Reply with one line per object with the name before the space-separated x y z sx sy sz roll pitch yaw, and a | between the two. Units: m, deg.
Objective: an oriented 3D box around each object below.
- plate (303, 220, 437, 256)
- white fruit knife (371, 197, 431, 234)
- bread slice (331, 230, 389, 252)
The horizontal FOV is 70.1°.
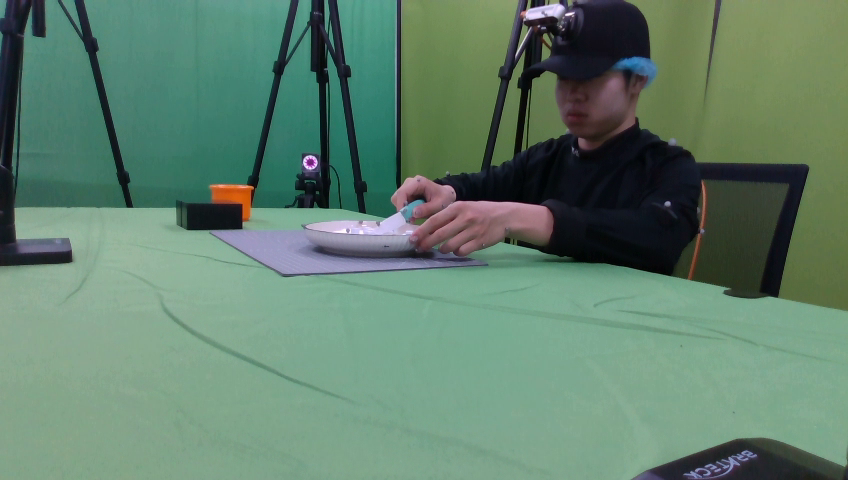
plate | -0.084 -0.003 0.951 0.209 0.038 0.209 2 7 0
white fruit knife | -0.035 -0.039 0.971 0.016 0.027 0.208 -9 12 26
bread slice | -0.088 0.000 0.947 0.105 0.019 0.131 -4 11 -44
